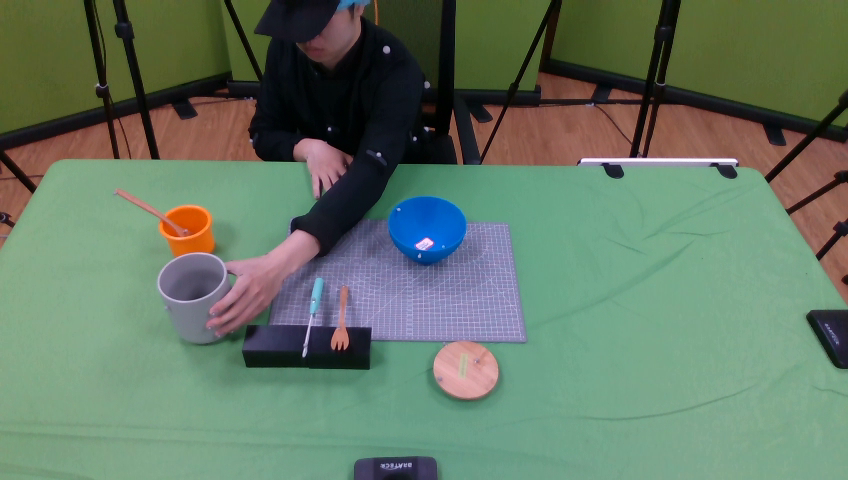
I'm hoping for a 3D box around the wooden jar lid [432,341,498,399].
[{"bbox_3d":[0.067,0.216,0.997,0.108,0.021,0.107,1,46,-1],"label":"wooden jar lid"}]

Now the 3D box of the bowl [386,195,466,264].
[{"bbox_3d":[0.003,-0.007,1.162,0.151,0.077,0.150,2,46,-2],"label":"bowl"}]

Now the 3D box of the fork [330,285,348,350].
[{"bbox_3d":[-0.140,0.127,1.021,0.028,0.019,0.206,-5,28,-2],"label":"fork"}]

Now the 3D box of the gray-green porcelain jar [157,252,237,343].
[{"bbox_3d":[-0.369,0.100,1.000,0.106,0.127,0.105,2,46,-2],"label":"gray-green porcelain jar"}]

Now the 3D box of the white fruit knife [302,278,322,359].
[{"bbox_3d":[-0.189,0.126,1.020,0.016,0.027,0.206,1,33,-3],"label":"white fruit knife"}]

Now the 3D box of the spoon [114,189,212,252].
[{"bbox_3d":[-0.475,-0.037,1.109,0.021,0.195,0.041,-29,34,32],"label":"spoon"}]
